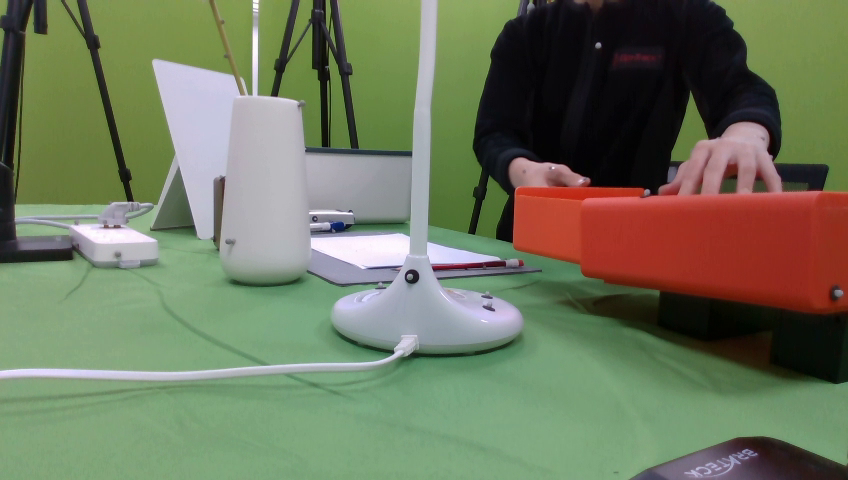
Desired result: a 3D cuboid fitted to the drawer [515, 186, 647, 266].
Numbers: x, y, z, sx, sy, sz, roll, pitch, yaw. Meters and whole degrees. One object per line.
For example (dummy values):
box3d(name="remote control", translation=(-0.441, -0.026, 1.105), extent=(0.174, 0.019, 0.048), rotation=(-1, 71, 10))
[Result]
box3d(name="drawer", translation=(0.230, -0.011, 0.603), extent=(0.195, 0.073, 0.210), rotation=(-1, 9, -28))

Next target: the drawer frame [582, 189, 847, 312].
box3d(name="drawer frame", translation=(0.280, 0.000, 0.511), extent=(0.203, 0.082, 0.212), rotation=(-1, 3, -28))

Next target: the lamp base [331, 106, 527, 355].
box3d(name="lamp base", translation=(0.006, -0.012, 0.478), extent=(0.161, 0.180, 0.179), rotation=(2, 10, 2))

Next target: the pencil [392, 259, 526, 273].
box3d(name="pencil", translation=(0.049, 0.035, 0.782), extent=(0.195, 0.012, 0.012), rotation=(-3, 9, -25))

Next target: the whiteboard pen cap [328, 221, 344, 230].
box3d(name="whiteboard pen cap", translation=(-0.166, -0.027, 1.124), extent=(0.018, 0.018, 0.033), rotation=(9, 11, 40))

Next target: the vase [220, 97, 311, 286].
box3d(name="vase", translation=(-0.172, -0.052, 0.662), extent=(0.098, 0.200, 0.098), rotation=(3, 8, 0))

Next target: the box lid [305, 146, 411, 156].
box3d(name="box lid", translation=(-0.229, -0.200, 1.360), extent=(0.373, 0.015, 0.262), rotation=(-3, 9, -33))

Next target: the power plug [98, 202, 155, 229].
box3d(name="power plug", translation=(-0.416, -0.026, 0.848), extent=(0.073, 0.052, 0.035), rotation=(0, 8, -28))

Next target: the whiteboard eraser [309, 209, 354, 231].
box3d(name="whiteboard eraser", translation=(-0.196, -0.038, 1.167), extent=(0.113, 0.042, 0.055), rotation=(-2, 7, -33))

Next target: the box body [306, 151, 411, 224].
box3d(name="box body", translation=(-0.230, -0.126, 1.371), extent=(0.366, 0.160, 0.253), rotation=(-2, 8, -33))

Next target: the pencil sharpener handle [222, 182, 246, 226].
box3d(name="pencil sharpener handle", translation=(-0.289, -0.055, 0.912), extent=(0.036, 0.067, 0.030), rotation=(-3, 9, -29))

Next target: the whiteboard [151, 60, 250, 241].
box3d(name="whiteboard", translation=(-0.408, -0.139, 1.093), extent=(0.143, 0.305, 0.218), rotation=(-15, 0, 25))

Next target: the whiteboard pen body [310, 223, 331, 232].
box3d(name="whiteboard pen body", translation=(-0.207, -0.021, 1.081), extent=(0.017, 0.017, 0.141), rotation=(9, 10, 41))

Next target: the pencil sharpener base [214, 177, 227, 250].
box3d(name="pencil sharpener base", translation=(-0.265, -0.036, 0.870), extent=(0.061, 0.107, 0.076), rotation=(-2, 8, -29))

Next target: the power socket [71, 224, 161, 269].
box3d(name="power socket", translation=(-0.408, 0.004, 0.793), extent=(0.072, 0.032, 0.225), rotation=(-2, 8, -38))

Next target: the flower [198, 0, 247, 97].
box3d(name="flower", translation=(-0.187, -0.133, 0.648), extent=(0.038, 0.362, 0.044), rotation=(-1, 22, 43))
